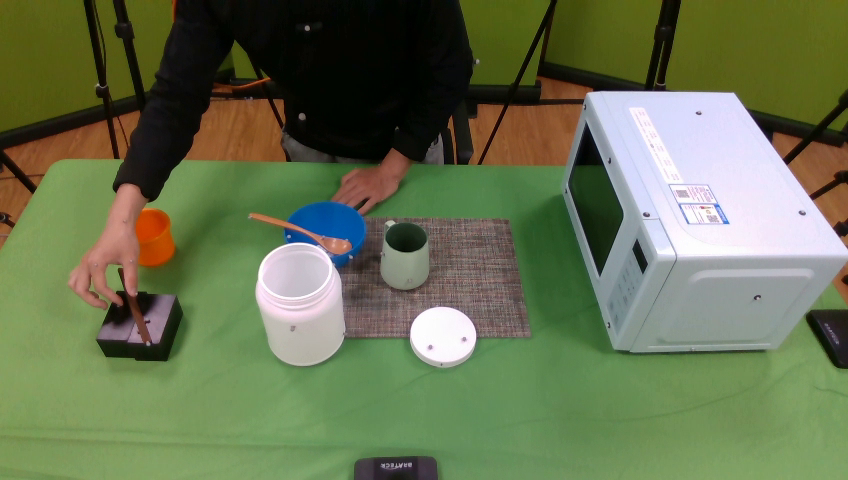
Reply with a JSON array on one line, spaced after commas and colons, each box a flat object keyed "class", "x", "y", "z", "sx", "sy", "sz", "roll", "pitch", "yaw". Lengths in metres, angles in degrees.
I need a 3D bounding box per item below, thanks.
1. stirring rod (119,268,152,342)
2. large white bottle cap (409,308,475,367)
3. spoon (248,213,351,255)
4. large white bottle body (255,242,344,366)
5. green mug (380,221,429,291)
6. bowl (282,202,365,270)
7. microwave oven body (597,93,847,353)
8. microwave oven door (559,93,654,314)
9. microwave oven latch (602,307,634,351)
[{"class": "stirring rod", "x": -0.477, "y": 0.104, "z": 0.999, "sx": 0.014, "sy": 0.006, "sz": 0.175, "roll": 9, "pitch": 33, "yaw": -46}, {"class": "large white bottle cap", "x": 0.031, "y": 0.166, "z": 1.041, "sx": 0.115, "sy": 0.018, "sz": 0.114, "roll": 2, "pitch": 47, "yaw": -2}, {"class": "spoon", "x": -0.228, "y": -0.014, "z": 1.113, "sx": 0.194, "sy": 0.022, "sz": 0.041, "roll": 23, "pitch": 41, "yaw": -15}, {"class": "large white bottle body", "x": -0.196, "y": 0.102, "z": 0.967, "sx": 0.131, "sy": 0.185, "sz": 0.130, "roll": 2, "pitch": 49, "yaw": -2}, {"class": "green mug", "x": -0.043, "y": 0.020, "z": 1.116, "sx": 0.092, "sy": 0.105, "sz": 0.124, "roll": -20, "pitch": 50, "yaw": -21}, {"class": "bowl", "x": -0.185, "y": 0.006, "z": 1.137, "sx": 0.151, "sy": 0.077, "sz": 0.150, "roll": 3, "pitch": 46, "yaw": -3}, {"class": "microwave oven body", "x": 0.475, "y": -0.041, "z": 1.109, "sx": 0.326, "sy": 0.261, "sz": 0.438, "roll": -1, "pitch": 45, "yaw": -4}, {"class": "microwave oven door", "x": 0.327, "y": -0.074, "z": 1.123, "sx": 0.039, "sy": 0.245, "sz": 0.353, "roll": -1, "pitch": 46, "yaw": -5}, {"class": "microwave oven latch", "x": 0.332, "y": 0.153, "z": 1.044, "sx": 0.030, "sy": 0.029, "sz": 0.078, "roll": -1, "pitch": 45, "yaw": -4}]
